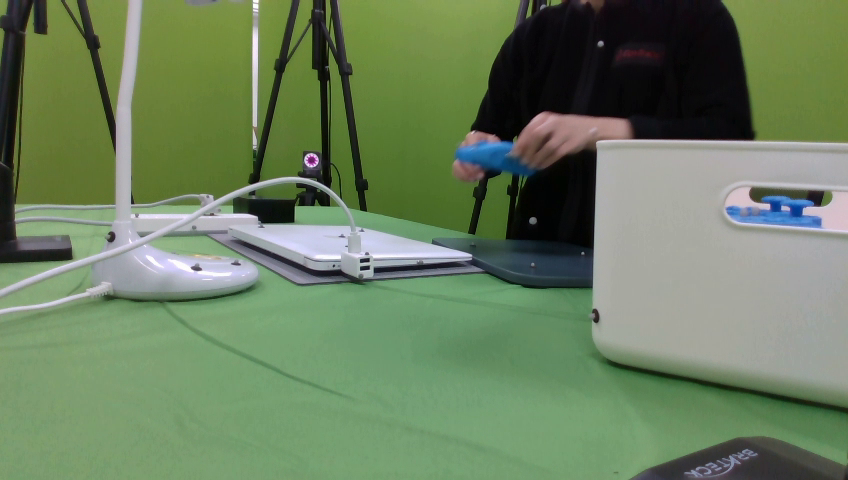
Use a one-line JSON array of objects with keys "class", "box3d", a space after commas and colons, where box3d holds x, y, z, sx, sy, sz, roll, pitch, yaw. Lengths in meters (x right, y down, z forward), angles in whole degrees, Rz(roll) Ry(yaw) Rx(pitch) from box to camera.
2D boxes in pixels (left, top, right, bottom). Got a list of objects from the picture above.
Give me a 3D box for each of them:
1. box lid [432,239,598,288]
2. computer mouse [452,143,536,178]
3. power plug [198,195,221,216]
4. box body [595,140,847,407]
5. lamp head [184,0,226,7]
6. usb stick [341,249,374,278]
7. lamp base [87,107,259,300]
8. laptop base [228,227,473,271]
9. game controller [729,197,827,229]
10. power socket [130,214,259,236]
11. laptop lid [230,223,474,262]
[{"class": "box lid", "box3d": [0.183, 0.029, 0.895, 0.264, 0.015, 0.370, 1, 7, -18]}, {"class": "computer mouse", "box3d": [0.099, -0.116, 0.859, 0.117, 0.041, 0.062, 5, 12, -16]}, {"class": "power plug", "box3d": [-0.386, -0.055, 1.088, 0.035, 0.052, 0.072, -2, 7, -24]}, {"class": "box body", "box3d": [0.309, 0.006, 0.510, 0.253, 0.160, 0.366, 6, 8, 29]}, {"class": "lamp head", "box3d": [-0.229, -0.320, 0.627, 0.112, 0.112, 0.123, 6, -36, 26]}, {"class": "usb stick", "box3d": [-0.078, 0.026, 0.686, 0.021, 0.027, 0.059, -8, 8, -30]}, {"class": "lamp base", "box3d": [-0.254, -0.039, 0.603, 0.160, 0.180, 0.179, 5, 10, 18]}, {"class": "laptop base", "box3d": [-0.124, 0.011, 0.889, 0.237, 0.023, 0.352, 2, 6, -35]}, {"class": "game controller", "box3d": [0.257, -0.004, 0.445, 0.097, 0.051, 0.155, 1, 7, 15]}, {"class": "power socket", "box3d": [-0.397, -0.028, 1.048, 0.228, 0.032, 0.072, -3, 7, -35]}, {"class": "laptop lid", "box3d": [-0.121, 0.000, 0.888, 0.243, 0.013, 0.355, 1, 7, -33]}]
